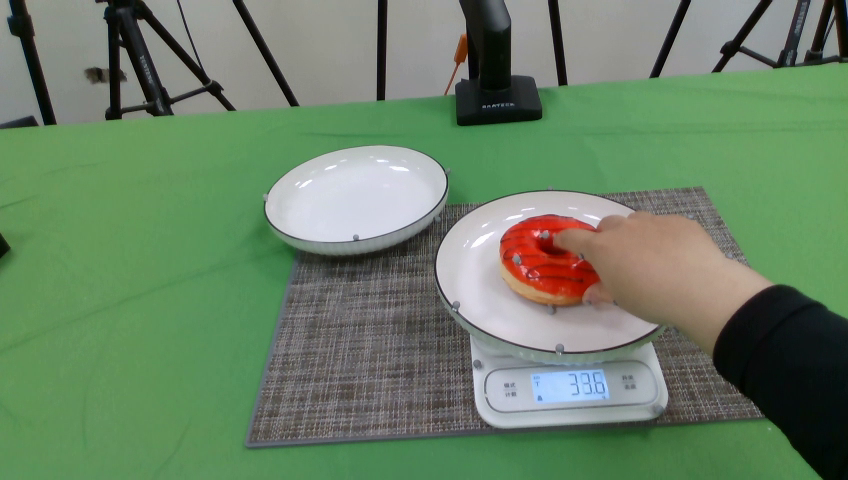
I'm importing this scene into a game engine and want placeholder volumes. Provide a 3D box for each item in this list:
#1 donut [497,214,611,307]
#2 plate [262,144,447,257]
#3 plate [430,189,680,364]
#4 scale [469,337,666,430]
[{"bbox_3d":[0.111,0.017,0.522,0.099,0.049,0.098,-1,41,1],"label":"donut"},{"bbox_3d":[-0.077,-0.044,0.691,0.209,0.038,0.207,-5,37,4],"label":"plate"},{"bbox_3d":[0.109,0.030,0.526,0.207,0.039,0.205,-3,40,3],"label":"plate"},{"bbox_3d":[0.113,0.070,0.529,0.148,0.032,0.199,-4,40,4],"label":"scale"}]
